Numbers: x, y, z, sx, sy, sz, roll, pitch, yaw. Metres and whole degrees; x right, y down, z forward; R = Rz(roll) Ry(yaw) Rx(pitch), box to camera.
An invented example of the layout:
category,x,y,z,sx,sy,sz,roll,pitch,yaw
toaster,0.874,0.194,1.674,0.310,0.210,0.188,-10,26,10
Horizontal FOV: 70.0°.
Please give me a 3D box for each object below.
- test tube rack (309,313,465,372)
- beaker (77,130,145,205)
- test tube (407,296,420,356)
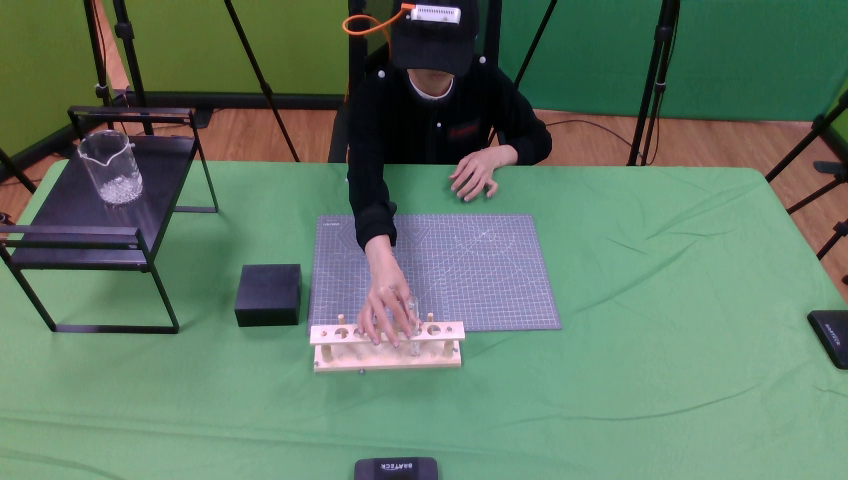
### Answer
category,x,y,z,sx,sy,sz,roll,pitch,yaw
test tube rack,-0.059,0.161,0.990,0.242,0.085,0.066,-1,46,-5
beaker,-0.493,-0.111,0.965,0.074,0.101,0.083,-14,49,-16
test tube,-0.016,0.137,0.946,0.017,0.151,0.017,-1,48,1
